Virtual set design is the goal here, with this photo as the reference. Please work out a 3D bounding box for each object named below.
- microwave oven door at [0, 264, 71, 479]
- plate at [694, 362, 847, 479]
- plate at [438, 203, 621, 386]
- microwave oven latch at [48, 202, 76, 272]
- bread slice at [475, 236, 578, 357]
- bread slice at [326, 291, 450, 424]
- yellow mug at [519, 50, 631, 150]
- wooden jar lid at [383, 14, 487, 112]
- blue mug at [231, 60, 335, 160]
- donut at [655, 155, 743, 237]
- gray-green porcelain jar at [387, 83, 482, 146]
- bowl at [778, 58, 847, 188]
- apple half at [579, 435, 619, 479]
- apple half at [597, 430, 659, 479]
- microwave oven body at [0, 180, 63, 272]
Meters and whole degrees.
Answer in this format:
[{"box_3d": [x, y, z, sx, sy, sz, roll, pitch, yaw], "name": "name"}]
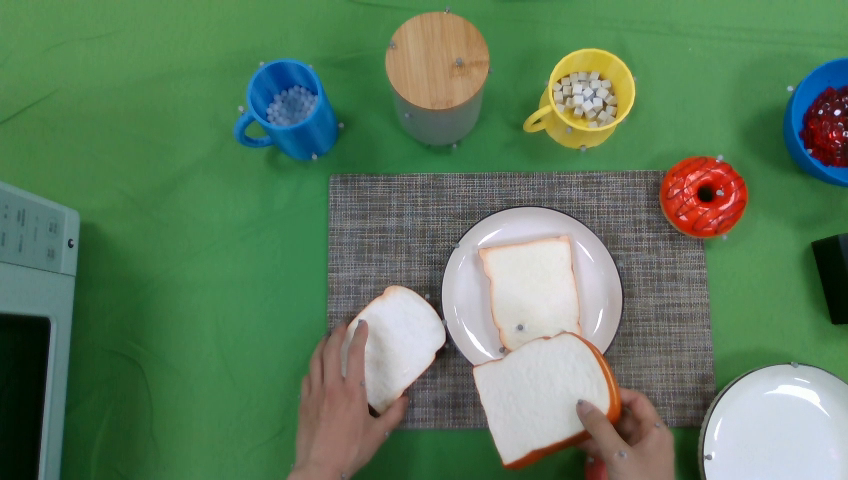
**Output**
[{"box_3d": [-0.428, 0.196, 0.565, 0.039, 0.244, 0.354, -1, 80, 1], "name": "microwave oven door"}, {"box_3d": [0.400, 0.240, 0.671, 0.209, 0.038, 0.208, 0, 81, 1], "name": "plate"}, {"box_3d": [0.119, 0.062, 0.699, 0.208, 0.039, 0.207, 0, 81, 1], "name": "plate"}, {"box_3d": [-0.425, -0.003, 0.699, 0.030, 0.029, 0.079, 3, 82, 1], "name": "microwave oven latch"}, {"box_3d": [0.125, 0.067, 0.700, 0.107, 0.018, 0.133, -12, 80, -1], "name": "bread slice"}, {"box_3d": [-0.032, 0.127, 0.690, 0.105, 0.019, 0.131, 34, 81, -3], "name": "bread slice"}, {"box_3d": [0.174, -0.159, 0.723, 0.131, 0.064, 0.099, -24, 81, -3], "name": "yellow mug"}, {"box_3d": [0.011, -0.183, 0.636, 0.108, 0.021, 0.108, 0, 79, 1], "name": "wooden jar lid"}, {"box_3d": [-0.167, -0.140, 0.704, 0.116, 0.106, 0.082, -26, 81, -3], "name": "blue mug"}, {"box_3d": [0.322, -0.052, 0.712, 0.099, 0.048, 0.098, 0, 82, 1], "name": "donut"}, {"box_3d": [0.013, -0.172, 0.697, 0.106, 0.127, 0.105, 0, 80, 1], "name": "gray-green porcelain jar"}, {"box_3d": [0.479, -0.126, 0.709, 0.151, 0.077, 0.151, 0, 81, 1], "name": "bowl"}, {"box_3d": [0.184, 0.252, 0.653, 0.033, 0.081, 0.081, -7, 80, -6], "name": "apple half"}, {"box_3d": [0.223, 0.244, 0.656, 0.053, 0.075, 0.080, -9, 78, -5], "name": "apple half"}, {"box_3d": [-0.573, 0.156, 0.578, 0.326, 0.261, 0.440, 0, 81, 0], "name": "microwave oven body"}]
